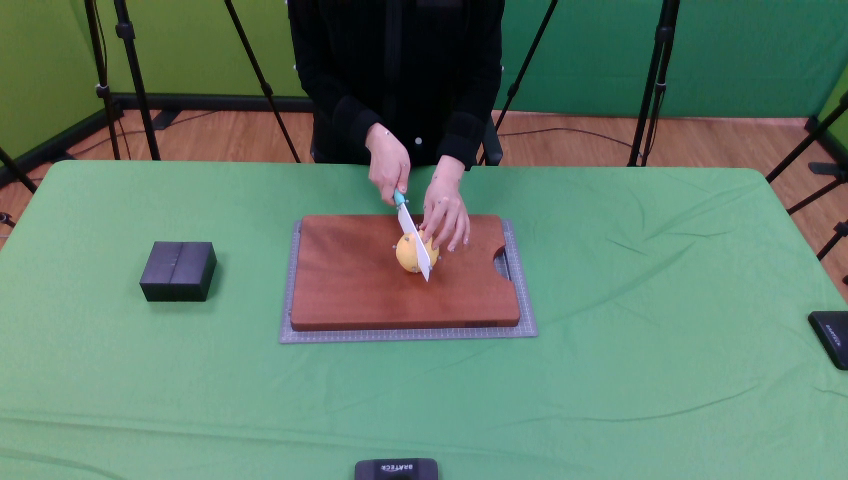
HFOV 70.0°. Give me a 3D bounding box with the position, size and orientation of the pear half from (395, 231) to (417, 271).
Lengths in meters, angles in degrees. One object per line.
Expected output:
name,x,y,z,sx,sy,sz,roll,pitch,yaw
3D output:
pear half,-0.035,0.020,1.089,0.031,0.088,0.070,-20,54,-15

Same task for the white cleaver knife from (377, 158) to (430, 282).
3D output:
white cleaver knife,-0.041,-0.043,1.103,0.021,0.066,0.284,-9,51,-17

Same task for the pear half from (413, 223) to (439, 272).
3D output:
pear half,0.000,0.006,1.094,0.056,0.110,0.076,-17,54,-17
